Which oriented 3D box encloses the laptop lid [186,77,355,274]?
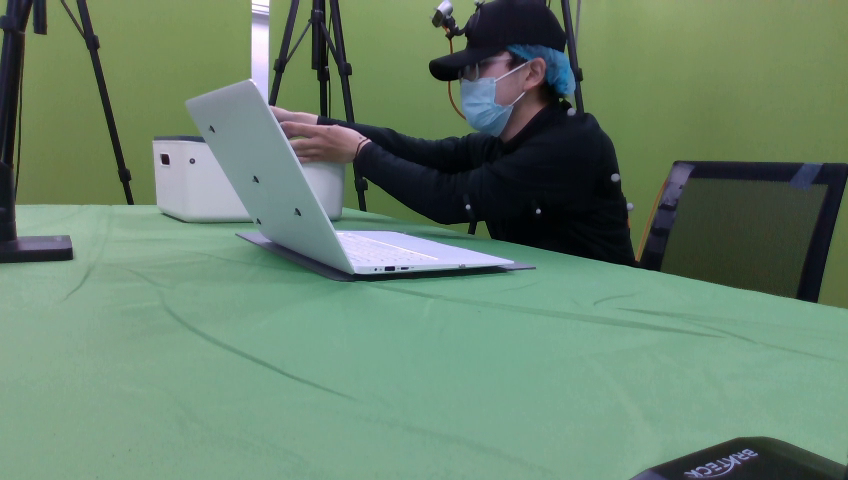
[{"bbox_3d":[-0.211,-0.081,0.772,0.013,0.242,0.355,-35,25,-23],"label":"laptop lid"}]

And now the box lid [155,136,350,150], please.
[{"bbox_3d":[-0.375,-0.212,1.339,0.373,0.015,0.262,-3,9,-36],"label":"box lid"}]

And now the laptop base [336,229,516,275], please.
[{"bbox_3d":[-0.065,0.014,0.877,0.237,0.023,0.352,1,7,-32],"label":"laptop base"}]

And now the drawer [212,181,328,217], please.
[{"bbox_3d":[-0.349,-0.096,1.366,0.213,0.073,0.193,-2,11,-32],"label":"drawer"}]

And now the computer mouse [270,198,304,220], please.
[{"bbox_3d":[-0.319,-0.072,1.403,0.063,0.041,0.116,4,13,-24],"label":"computer mouse"}]

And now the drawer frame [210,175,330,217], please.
[{"bbox_3d":[-0.348,-0.105,1.366,0.215,0.082,0.200,-7,10,-33],"label":"drawer frame"}]

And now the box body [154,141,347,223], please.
[{"bbox_3d":[-0.384,-0.132,1.347,0.366,0.160,0.253,-3,9,-36],"label":"box body"}]
